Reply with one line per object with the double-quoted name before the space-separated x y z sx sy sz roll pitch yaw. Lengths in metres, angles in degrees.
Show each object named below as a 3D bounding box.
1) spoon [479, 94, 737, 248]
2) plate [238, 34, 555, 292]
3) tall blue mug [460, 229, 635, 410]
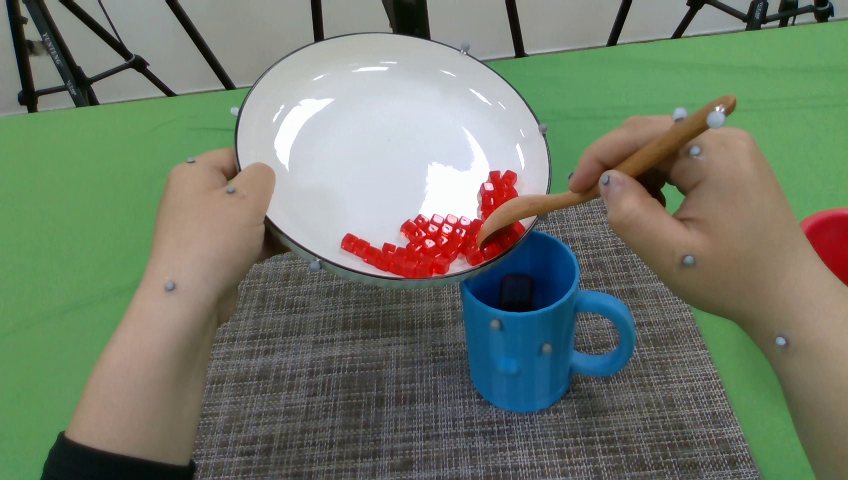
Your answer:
"spoon" 0.079 -0.026 0.306 0.041 0.193 0.021 -31 92 -26
"plate" -0.016 -0.054 0.410 0.208 0.039 0.205 5 58 -8
"tall blue mug" 0.081 0.053 0.418 0.107 0.109 0.077 -10 43 -1
